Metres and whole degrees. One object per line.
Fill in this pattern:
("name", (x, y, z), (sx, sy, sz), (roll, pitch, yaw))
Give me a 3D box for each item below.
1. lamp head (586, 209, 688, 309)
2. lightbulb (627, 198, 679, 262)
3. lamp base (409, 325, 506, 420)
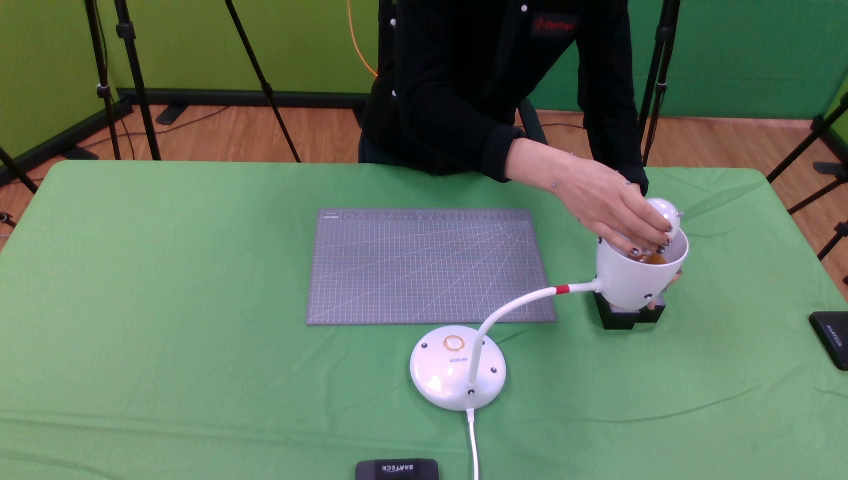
("lamp head", (0.280, 0.037, 0.822), (0.112, 0.123, 0.111), (5, 41, -4))
("lightbulb", (0.288, -0.008, 0.782), (0.059, 0.108, 0.059), (2, 51, -2))
("lamp base", (0.064, 0.163, 0.938), (0.161, 0.181, 0.178), (-11, 51, -14))
